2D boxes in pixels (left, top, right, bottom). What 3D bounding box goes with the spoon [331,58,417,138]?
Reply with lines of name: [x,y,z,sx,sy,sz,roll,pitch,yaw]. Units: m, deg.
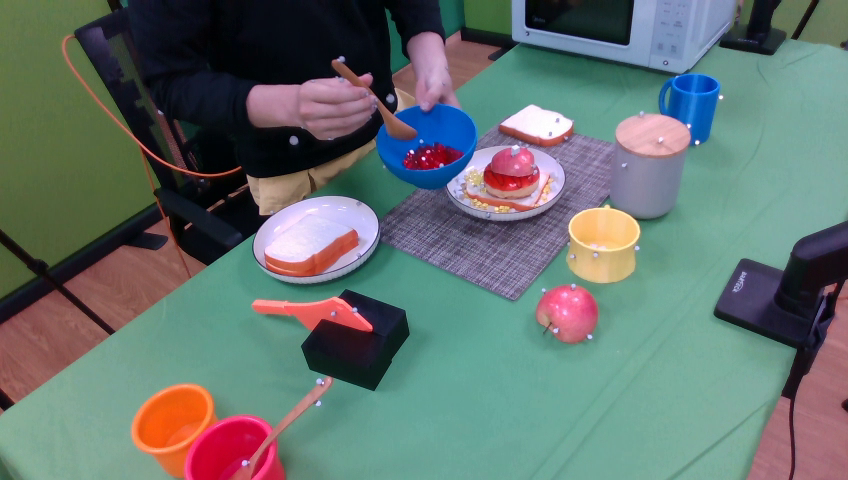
spoon: [-0.064,-0.179,0.783,0.041,0.195,0.021,-6,65,27]

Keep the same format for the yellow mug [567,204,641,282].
yellow mug: [0.268,-0.004,0.905,0.099,0.064,0.130,6,41,16]

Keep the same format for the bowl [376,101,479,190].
bowl: [0.009,-0.128,0.900,0.151,0.077,0.150,-4,51,5]

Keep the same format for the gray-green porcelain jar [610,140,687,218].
gray-green porcelain jar: [0.354,-0.106,0.964,0.106,0.127,0.105,-4,41,4]

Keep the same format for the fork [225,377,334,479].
fork: [-0.163,0.216,0.646,0.207,0.019,0.028,-49,42,16]

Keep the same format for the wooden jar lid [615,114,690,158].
wooden jar lid: [0.347,-0.155,0.923,0.108,0.021,0.108,-3,44,4]

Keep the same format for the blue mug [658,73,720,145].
blue mug: [0.483,-0.250,1.127,0.082,0.106,0.115,-26,44,-19]

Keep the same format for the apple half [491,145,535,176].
apple half: [0.147,-0.138,0.993,0.081,0.033,0.081,0,37,0]

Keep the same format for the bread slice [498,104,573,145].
bread slice: [0.231,-0.231,1.205,0.105,0.019,0.130,-36,47,-28]

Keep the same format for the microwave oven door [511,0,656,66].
microwave oven door: [0.350,-0.539,1.348,0.353,0.245,0.039,24,50,31]

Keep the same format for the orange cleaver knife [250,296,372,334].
orange cleaver knife: [-0.159,0.103,0.828,0.210,0.078,0.012,-4,43,39]

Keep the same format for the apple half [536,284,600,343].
apple half: [0.196,0.091,0.815,0.075,0.053,0.080,-22,42,-20]

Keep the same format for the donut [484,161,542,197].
donut: [0.149,-0.110,1.016,0.099,0.048,0.098,-4,40,4]

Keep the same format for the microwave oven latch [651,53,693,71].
microwave oven latch: [0.532,-0.386,1.301,0.078,0.029,0.030,27,52,34]

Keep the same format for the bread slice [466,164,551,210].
bread slice: [0.141,-0.094,1.041,0.133,0.018,0.107,10,42,20]

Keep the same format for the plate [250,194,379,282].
plate: [-0.174,0.000,0.984,0.209,0.038,0.208,-3,40,3]

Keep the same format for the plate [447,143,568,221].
plate: [0.142,-0.097,1.045,0.207,0.039,0.206,-4,40,4]

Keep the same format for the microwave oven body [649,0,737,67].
microwave oven body: [0.475,-0.602,1.411,0.438,0.261,0.327,23,50,32]
